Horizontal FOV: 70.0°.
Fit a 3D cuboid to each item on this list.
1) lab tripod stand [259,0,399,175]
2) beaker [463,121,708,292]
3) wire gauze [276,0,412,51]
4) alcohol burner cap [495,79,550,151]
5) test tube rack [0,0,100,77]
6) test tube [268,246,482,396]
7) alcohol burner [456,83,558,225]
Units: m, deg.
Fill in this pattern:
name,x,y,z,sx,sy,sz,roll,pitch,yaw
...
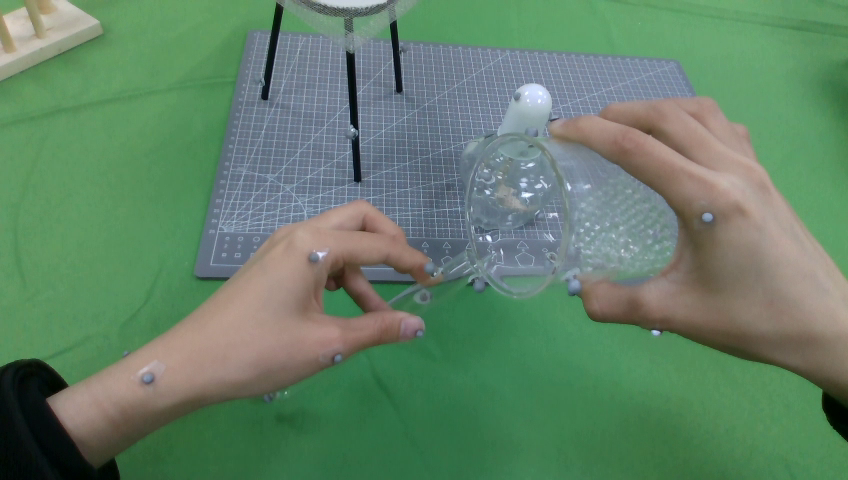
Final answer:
name,x,y,z,sx,sy,sz,roll,pitch,yaw
lab tripod stand,-0.066,-0.147,0.477,0.149,0.132,0.147,5,52,-7
beaker,0.079,-0.015,0.297,0.101,0.084,0.073,-5,62,-29
wire gauze,-0.061,-0.188,0.424,0.124,0.011,0.121,34,55,16
alcohol burner cap,0.070,-0.088,0.418,0.034,0.048,0.033,4,56,-5
test tube rack,-0.395,-0.167,0.477,0.066,0.086,0.242,33,54,17
test tube,-0.032,0.048,0.330,0.150,0.017,0.017,-34,51,22
alcohol burner,0.065,-0.067,0.446,0.078,0.120,0.077,5,50,-6
